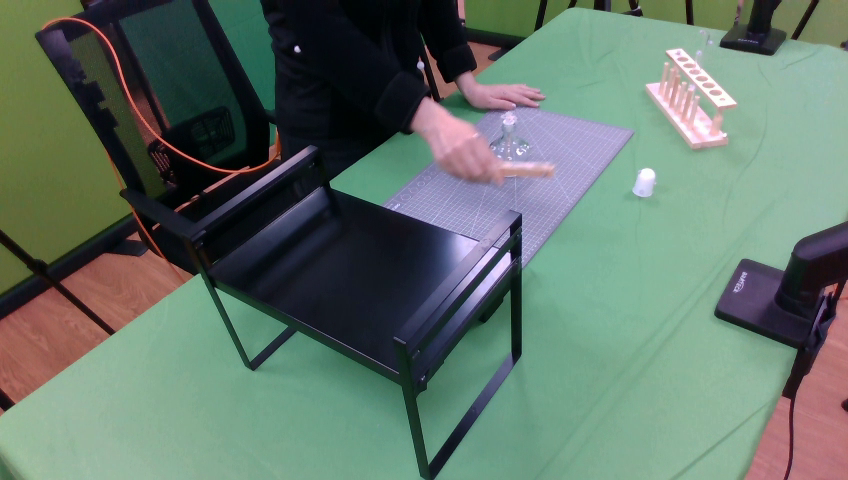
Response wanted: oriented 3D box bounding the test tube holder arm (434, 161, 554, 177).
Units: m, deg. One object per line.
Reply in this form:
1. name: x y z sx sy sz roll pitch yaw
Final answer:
1. test tube holder arm: 0.099 -0.104 0.882 0.177 0.015 0.013 7 37 22

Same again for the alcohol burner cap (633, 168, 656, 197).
1. alcohol burner cap: 0.374 -0.099 1.018 0.034 0.048 0.033 0 41 1

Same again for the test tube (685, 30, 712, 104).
1. test tube: 0.521 -0.325 1.150 0.017 0.151 0.017 -3 45 3

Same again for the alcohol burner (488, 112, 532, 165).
1. alcohol burner: 0.154 -0.176 1.084 0.078 0.119 0.077 -3 41 3

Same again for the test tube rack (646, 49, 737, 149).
1. test tube rack: 0.511 -0.280 1.175 0.067 0.085 0.241 -8 41 1

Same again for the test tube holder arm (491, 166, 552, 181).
1. test tube holder arm: 0.138 -0.095 0.861 0.087 0.015 0.010 8 38 23
